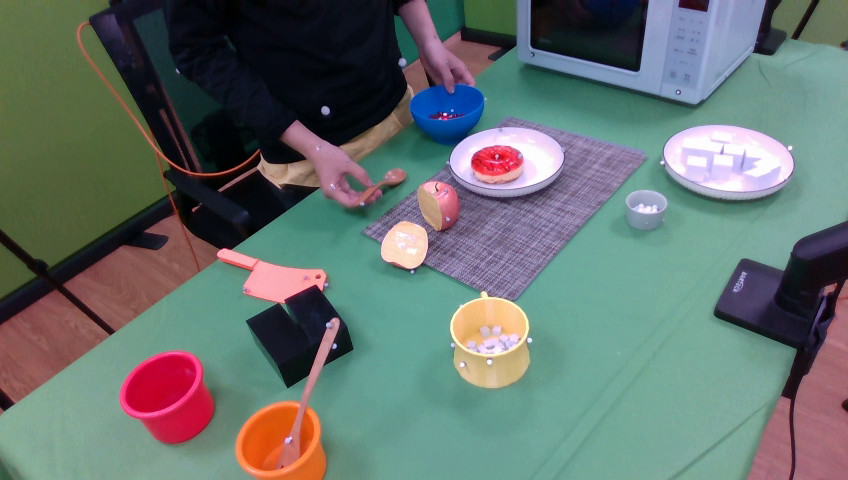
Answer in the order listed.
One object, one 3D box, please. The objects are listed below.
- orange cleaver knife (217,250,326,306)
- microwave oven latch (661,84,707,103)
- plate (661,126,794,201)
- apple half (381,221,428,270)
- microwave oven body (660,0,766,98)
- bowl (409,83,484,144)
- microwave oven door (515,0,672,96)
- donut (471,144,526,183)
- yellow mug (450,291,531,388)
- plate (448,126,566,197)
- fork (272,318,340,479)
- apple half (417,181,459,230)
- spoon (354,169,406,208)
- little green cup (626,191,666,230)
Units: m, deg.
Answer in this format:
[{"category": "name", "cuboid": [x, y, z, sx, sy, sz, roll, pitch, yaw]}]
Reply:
[{"category": "orange cleaver knife", "cuboid": [-0.248, 0.059, 0.945, 0.210, 0.012, 0.077, 12, 48, 20]}, {"category": "microwave oven latch", "cuboid": [0.517, -0.296, 1.204, 0.078, 0.029, 0.030, 27, 52, 35]}, {"category": "plate", "cuboid": [0.513, -0.128, 1.035, 0.207, 0.039, 0.206, -4, 40, 4]}, {"category": "apple half", "cuboid": [-0.025, 0.012, 0.946, 0.081, 0.033, 0.081, -5, 73, 16]}, {"category": "microwave oven body", "cuboid": [0.472, -0.513, 1.317, 0.438, 0.261, 0.327, 26, 51, 34]}, {"category": "bowl", "cuboid": [0.048, -0.245, 1.213, 0.151, 0.077, 0.150, -4, 40, 4]}, {"category": "microwave oven door", "cuboid": [0.343, -0.454, 1.259, 0.353, 0.245, 0.039, 26, 51, 33]}, {"category": "donut", "cuboid": [0.133, -0.138, 1.082, 0.099, 0.048, 0.098, -5, 38, 5]}, {"category": "yellow mug", "cuboid": [0.085, 0.120, 0.786, 0.100, 0.064, 0.130, -7, 39, 1]}, {"category": "plate", "cuboid": [0.150, -0.138, 1.096, 0.209, 0.038, 0.208, -4, 40, 4]}, {"category": "fork", "cuboid": [-0.131, 0.186, 0.676, 0.028, 0.019, 0.207, 17, 90, 28]}, {"category": "apple half", "cuboid": [0.030, -0.060, 0.995, 0.053, 0.075, 0.080, -23, 39, -22]}, {"category": "spoon", "cuboid": [-0.080, -0.093, 1.061, 0.041, 0.021, 0.194, 14, 24, 16]}, {"category": "little green cup", "cuboid": [0.352, -0.046, 0.963, 0.061, 0.039, 0.061, -4, 40, 4]}]
